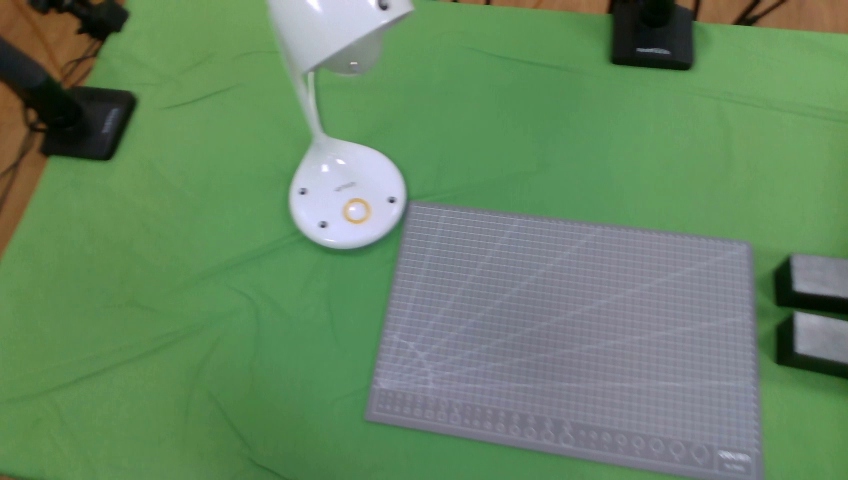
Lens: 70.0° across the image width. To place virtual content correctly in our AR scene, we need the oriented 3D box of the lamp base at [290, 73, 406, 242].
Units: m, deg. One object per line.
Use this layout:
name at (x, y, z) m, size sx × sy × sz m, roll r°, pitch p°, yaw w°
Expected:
lamp base at (-0.117, -0.112, 0.768) m, size 0.160 × 0.182 × 0.177 m, roll -32°, pitch 65°, yaw -10°

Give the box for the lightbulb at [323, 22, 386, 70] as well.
lightbulb at (-0.071, -0.194, 0.496) m, size 0.059 × 0.059 × 0.108 m, roll -26°, pitch 107°, yaw -8°

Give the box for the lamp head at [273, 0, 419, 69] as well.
lamp head at (-0.081, -0.217, 0.495) m, size 0.112 × 0.112 × 0.123 m, roll -34°, pitch 102°, yaw -11°
